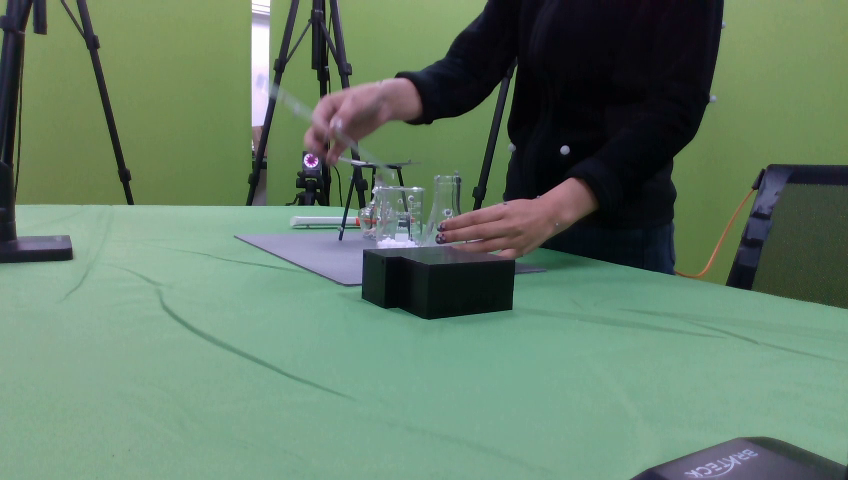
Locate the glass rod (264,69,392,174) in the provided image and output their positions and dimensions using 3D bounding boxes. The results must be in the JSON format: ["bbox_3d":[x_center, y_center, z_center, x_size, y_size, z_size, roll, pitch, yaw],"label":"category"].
[{"bbox_3d":[-0.116,-0.145,0.758,0.200,0.008,0.008,38,-7,-22],"label":"glass rod"}]

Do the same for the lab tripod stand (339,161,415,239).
[{"bbox_3d":[-0.082,-0.070,1.059,0.148,0.131,0.148,4,6,0],"label":"lab tripod stand"}]

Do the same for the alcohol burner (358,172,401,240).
[{"bbox_3d":[-0.078,-0.061,1.065,0.078,0.119,0.078,4,9,0],"label":"alcohol burner"}]

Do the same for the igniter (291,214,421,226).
[{"bbox_3d":[-0.135,-0.041,1.249,0.278,0.025,0.057,-1,-2,-28],"label":"igniter"}]

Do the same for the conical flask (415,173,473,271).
[{"bbox_3d":[0.028,-0.024,0.777,0.075,0.122,0.075,2,7,0],"label":"conical flask"}]

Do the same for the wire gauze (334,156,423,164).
[{"bbox_3d":[-0.081,-0.137,1.051,0.122,0.011,0.124,0,8,-30],"label":"wire gauze"}]

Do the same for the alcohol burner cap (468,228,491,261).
[{"bbox_3d":[0.082,0.006,0.878,0.034,0.048,0.034,3,7,0],"label":"alcohol burner cap"}]

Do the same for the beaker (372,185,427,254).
[{"bbox_3d":[-0.038,-0.031,0.905,0.084,0.100,0.073,-1,8,-21],"label":"beaker"}]
